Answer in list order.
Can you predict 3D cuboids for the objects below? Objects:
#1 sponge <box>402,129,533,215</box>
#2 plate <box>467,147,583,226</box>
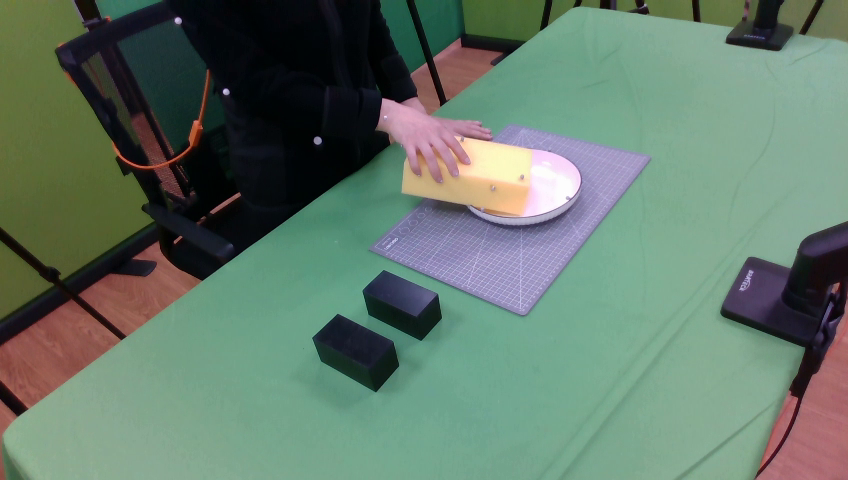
[{"bbox_3d":[0.075,-0.117,1.022,0.207,0.061,0.118,10,40,2],"label":"sponge"},{"bbox_3d":[0.166,-0.089,1.043,0.209,0.038,0.208,-5,40,5],"label":"plate"}]
